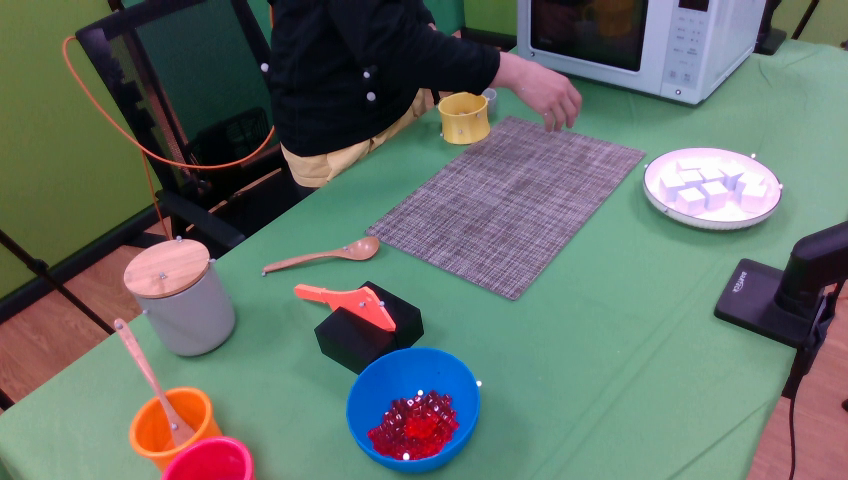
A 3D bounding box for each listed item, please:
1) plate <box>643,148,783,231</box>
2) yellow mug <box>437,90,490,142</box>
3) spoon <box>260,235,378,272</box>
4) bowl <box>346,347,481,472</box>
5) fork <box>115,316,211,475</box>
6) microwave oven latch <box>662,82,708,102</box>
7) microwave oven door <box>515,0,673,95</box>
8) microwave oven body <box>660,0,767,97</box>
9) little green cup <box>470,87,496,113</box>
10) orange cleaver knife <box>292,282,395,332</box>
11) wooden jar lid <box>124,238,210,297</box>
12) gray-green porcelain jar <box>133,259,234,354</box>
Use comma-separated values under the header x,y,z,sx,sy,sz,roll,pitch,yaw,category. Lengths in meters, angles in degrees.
x,y,z,sx,sy,sz,roll,pitch,yaw,category
0.464,-0.080,0.986,0.207,0.039,0.206,-4,40,4,plate
0.070,-0.257,1.224,0.100,0.064,0.129,-33,43,-25,yellow mug
-0.168,0.024,0.966,0.194,0.022,0.041,-10,58,-3,spoon
-0.008,0.205,0.691,0.151,0.077,0.150,-4,40,4,bowl
-0.309,0.180,0.708,0.028,0.018,0.207,-29,89,-24,fork
0.518,-0.298,1.202,0.078,0.029,0.030,29,53,35,microwave oven latch
0.344,-0.458,1.256,0.353,0.245,0.039,26,51,33,microwave oven door
0.473,-0.516,1.313,0.438,0.261,0.327,26,51,34,microwave oven body
0.123,-0.297,1.283,0.061,0.039,0.061,-3,37,3,little green cup
-0.116,0.091,0.835,0.209,0.077,0.012,2,32,48,orange cleaver knife
-0.335,0.039,0.794,0.108,0.021,0.108,-2,40,2,wooden jar lid
-0.328,0.087,0.836,0.106,0.127,0.105,-4,41,4,gray-green porcelain jar
